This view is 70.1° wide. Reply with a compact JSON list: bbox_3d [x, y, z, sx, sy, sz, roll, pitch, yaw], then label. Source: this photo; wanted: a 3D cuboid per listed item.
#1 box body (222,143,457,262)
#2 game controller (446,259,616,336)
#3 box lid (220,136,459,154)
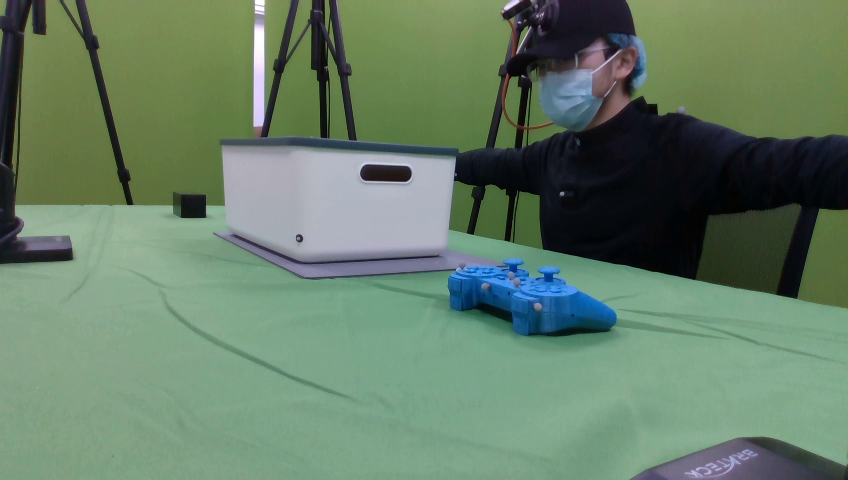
[{"bbox_3d":[-0.148,-0.073,0.956,0.255,0.160,0.362,-3,9,-33],"label":"box body"},{"bbox_3d":[0.091,0.048,0.562,0.097,0.051,0.154,-7,10,-32],"label":"game controller"},{"bbox_3d":[-0.144,-0.145,0.944,0.265,0.015,0.369,-2,9,-33],"label":"box lid"}]
